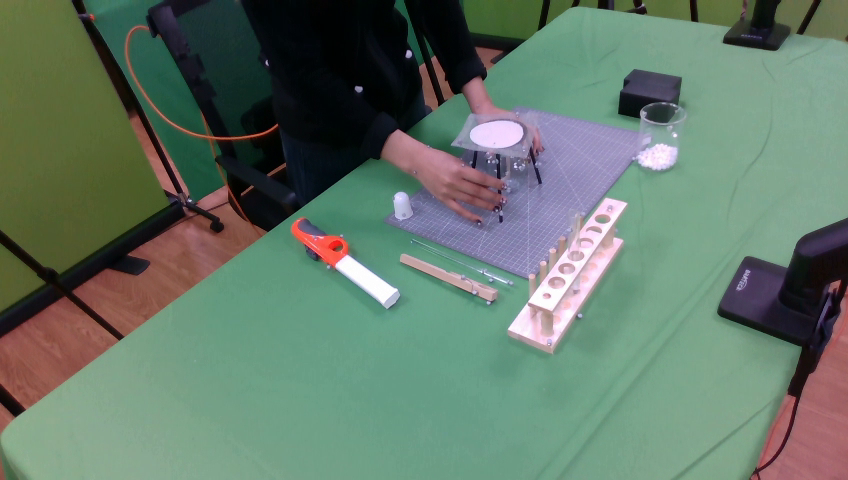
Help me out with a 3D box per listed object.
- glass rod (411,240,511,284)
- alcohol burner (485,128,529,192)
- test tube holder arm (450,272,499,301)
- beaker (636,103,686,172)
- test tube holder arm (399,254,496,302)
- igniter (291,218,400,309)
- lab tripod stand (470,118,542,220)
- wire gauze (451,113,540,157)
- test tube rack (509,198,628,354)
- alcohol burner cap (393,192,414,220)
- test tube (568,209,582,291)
[{"bbox_3d":[0.053,0.033,0.946,0.198,0.008,0.008,22,50,36],"label":"glass rod"},{"bbox_3d":[0.144,-0.143,1.051,0.078,0.119,0.077,-4,41,4],"label":"alcohol burner"},{"bbox_3d":[0.071,0.068,0.894,0.087,0.015,0.010,21,15,32],"label":"test tube holder arm"},{"bbox_3d":[0.413,-0.177,1.055,0.084,0.101,0.073,-28,44,-21],"label":"beaker"},{"bbox_3d":[0.032,0.055,0.913,0.177,0.015,0.013,21,15,31],"label":"test tube holder arm"},{"bbox_3d":[-0.136,0.031,0.970,0.057,0.025,0.274,-41,49,-19],"label":"igniter"},{"bbox_3d":[0.135,-0.128,1.019,0.148,0.132,0.147,-5,38,5],"label":"lab tripod stand"},{"bbox_3d":[0.117,-0.173,0.971,0.124,0.011,0.121,8,41,18],"label":"wire gauze"},{"bbox_3d":[0.206,0.039,0.850,0.066,0.085,0.243,20,48,31],"label":"test tube rack"},{"bbox_3d":[-0.038,-0.061,1.043,0.034,0.048,0.033,-6,41,5],"label":"alcohol burner cap"},{"bbox_3d":[0.200,0.018,0.799,0.017,0.151,0.017,-8,45,8],"label":"test tube"}]
